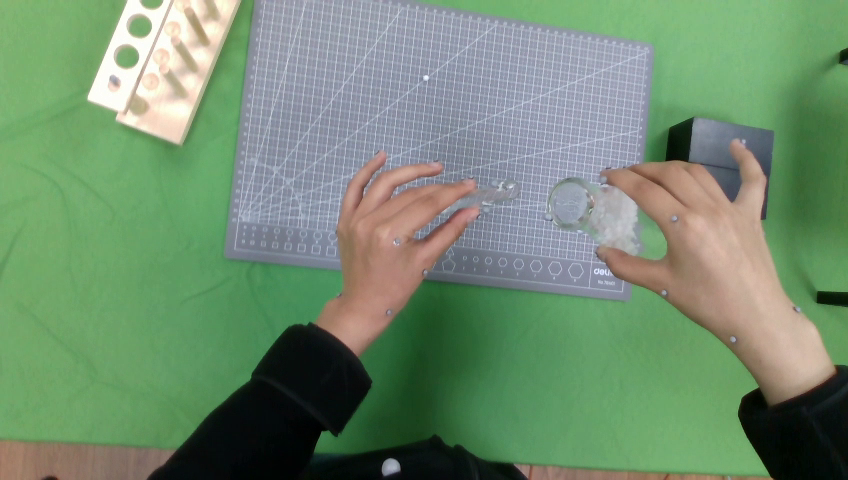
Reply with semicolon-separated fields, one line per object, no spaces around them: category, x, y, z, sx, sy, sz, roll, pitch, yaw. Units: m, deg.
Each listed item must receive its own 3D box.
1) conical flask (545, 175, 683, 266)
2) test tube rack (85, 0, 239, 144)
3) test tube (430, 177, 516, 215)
conical flask;0.141;-0.021;0.465;0.123;0.075;0.075;9;85;-46
test tube rack;-0.235;-0.224;0.591;0.067;0.085;0.242;21;85;-8
test tube;0.036;-0.035;0.511;0.017;0.149;0.017;1;87;-20
